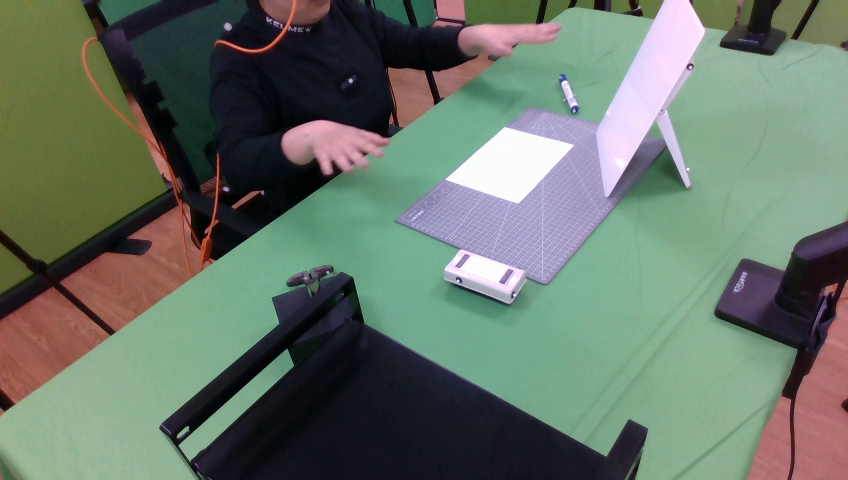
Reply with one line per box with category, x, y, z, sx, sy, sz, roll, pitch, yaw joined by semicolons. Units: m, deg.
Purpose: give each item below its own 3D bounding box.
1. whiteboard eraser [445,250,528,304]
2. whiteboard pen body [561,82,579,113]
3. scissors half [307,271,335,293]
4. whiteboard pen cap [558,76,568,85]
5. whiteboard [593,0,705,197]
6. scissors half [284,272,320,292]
whiteboard eraser;0.090;0.056;0.882;0.112;0.042;0.056;18;44;27
whiteboard pen body;0.310;-0.311;1.297;0.017;0.017;0.140;-6;41;2
scissors half;-0.152;0.061;0.872;0.040;0.013;0.175;-3;5;-4
whiteboard pen cap;0.309;-0.350;1.340;0.018;0.018;0.033;-6;41;2
whiteboard;0.421;-0.227;1.009;0.144;0.305;0.216;17;41;-3
scissors half;-0.171;0.063;0.868;0.040;0.013;0.174;-10;7;-22
